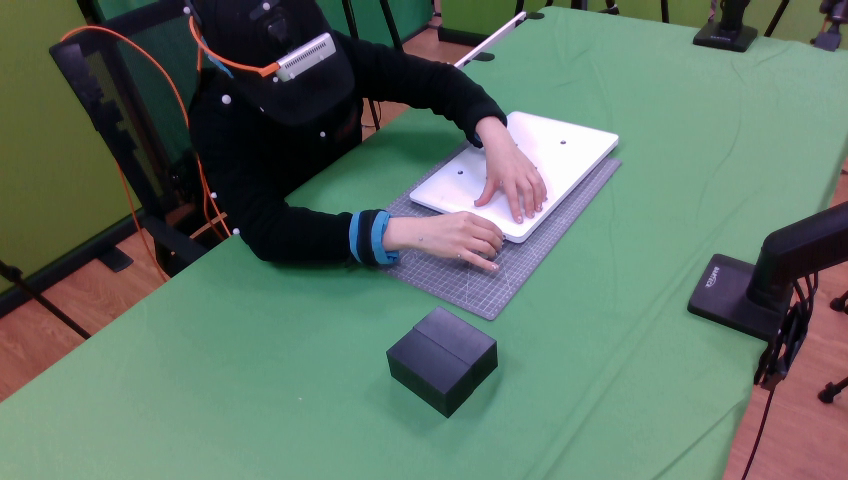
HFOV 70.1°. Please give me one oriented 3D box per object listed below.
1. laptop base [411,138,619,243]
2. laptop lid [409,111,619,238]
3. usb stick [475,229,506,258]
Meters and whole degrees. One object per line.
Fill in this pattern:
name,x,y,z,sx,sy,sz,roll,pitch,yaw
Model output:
laptop base,0.170,-0.126,1.095,0.233,0.023,0.355,21,48,34
laptop lid,0.167,-0.136,1.089,0.239,0.013,0.358,24,49,34
usb stick,0.105,0.002,0.932,0.021,0.027,0.059,16,37,39
